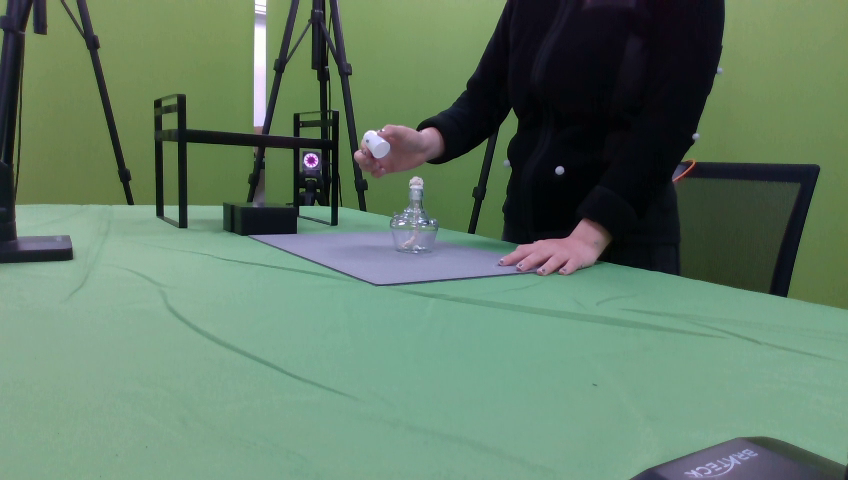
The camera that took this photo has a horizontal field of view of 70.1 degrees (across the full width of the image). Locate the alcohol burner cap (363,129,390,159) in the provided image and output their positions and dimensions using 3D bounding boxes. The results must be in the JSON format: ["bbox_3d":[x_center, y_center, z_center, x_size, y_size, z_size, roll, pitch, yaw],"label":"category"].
[{"bbox_3d":[-0.079,-0.156,0.966,0.034,0.034,0.047,-5,54,-45],"label":"alcohol burner cap"}]

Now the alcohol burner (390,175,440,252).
[{"bbox_3d":[-0.013,-0.041,0.930,0.078,0.119,0.078,4,8,0],"label":"alcohol burner"}]
